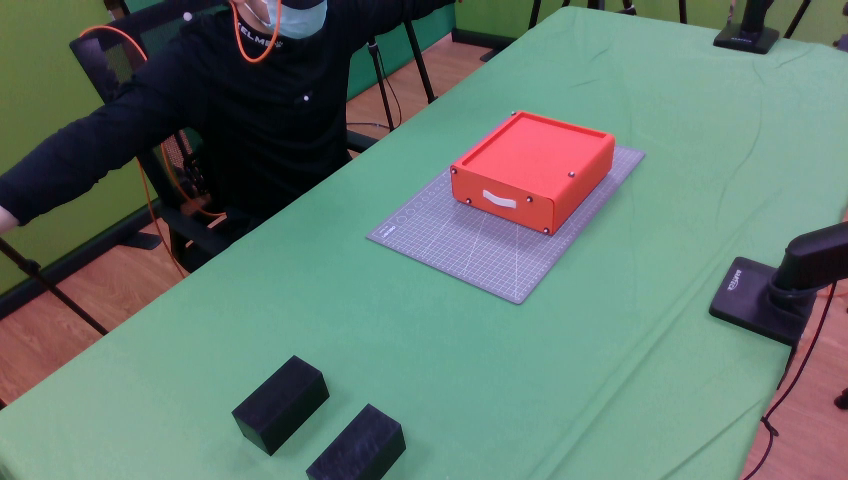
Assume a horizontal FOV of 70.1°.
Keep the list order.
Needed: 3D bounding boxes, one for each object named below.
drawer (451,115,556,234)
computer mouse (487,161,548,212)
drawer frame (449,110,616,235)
[{"bbox_3d":[0.185,-0.121,1.034,0.193,0.073,0.212,23,48,31],"label":"drawer"},{"bbox_3d":[0.159,-0.095,1.025,0.063,0.041,0.116,-14,48,-21],"label":"computer mouse"},{"bbox_3d":[0.186,-0.124,1.035,0.200,0.083,0.214,23,48,31],"label":"drawer frame"}]
